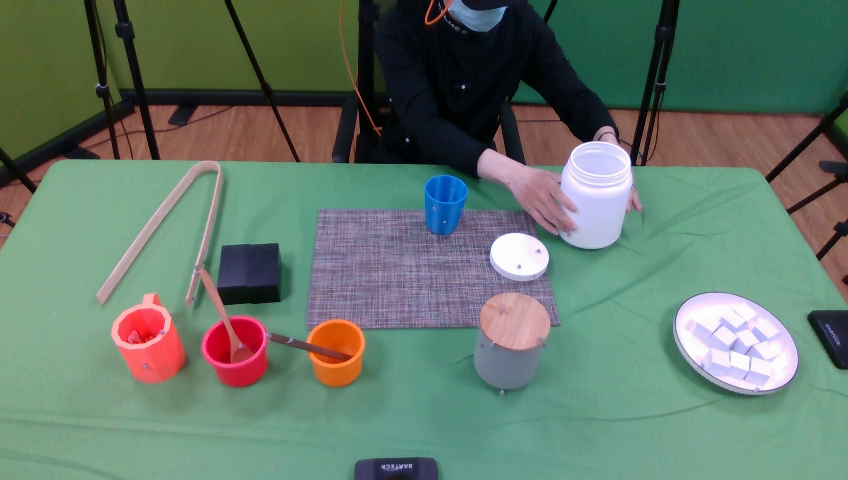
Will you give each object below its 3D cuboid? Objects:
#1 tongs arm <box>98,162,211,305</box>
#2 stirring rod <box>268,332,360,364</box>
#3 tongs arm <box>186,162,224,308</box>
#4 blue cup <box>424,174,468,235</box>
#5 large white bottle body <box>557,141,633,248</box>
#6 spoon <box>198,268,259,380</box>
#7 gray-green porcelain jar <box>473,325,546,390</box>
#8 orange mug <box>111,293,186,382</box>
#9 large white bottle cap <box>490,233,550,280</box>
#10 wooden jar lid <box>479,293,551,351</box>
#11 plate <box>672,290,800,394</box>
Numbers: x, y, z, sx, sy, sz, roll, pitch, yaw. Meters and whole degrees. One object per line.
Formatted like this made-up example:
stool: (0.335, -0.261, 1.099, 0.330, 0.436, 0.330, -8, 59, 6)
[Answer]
tongs arm: (-0.519, -0.027, 1.184, 0.028, 0.028, 0.385, 5, 45, 13)
stirring rod: (-0.167, 0.169, 0.942, 0.177, 0.006, 0.014, 26, 25, -41)
tongs arm: (-0.435, -0.025, 1.181, 0.051, 0.027, 0.382, -3, 45, 1)
blue cup: (0.039, -0.065, 1.201, 0.093, 0.101, 0.092, 3, 47, -3)
large white bottle body: (0.332, -0.088, 1.182, 0.130, 0.185, 0.130, -2, 45, 3)
spoon: (-0.313, 0.133, 0.962, 0.041, 0.021, 0.194, -24, 96, -22)
gray-green porcelain jar: (0.135, 0.170, 0.969, 0.106, 0.127, 0.105, 2, 46, -2)
orange mug: (-0.435, 0.149, 0.969, 0.083, 0.101, 0.125, -5, 51, -8)
large white bottle cap: (0.186, 0.031, 1.177, 0.115, 0.018, 0.114, 2, 45, -1)
wooden jar lid: (0.137, 0.127, 0.925, 0.108, 0.021, 0.107, 1, 47, -1)
plate: (0.533, 0.178, 1.050, 0.208, 0.039, 0.206, 2, 46, -2)
